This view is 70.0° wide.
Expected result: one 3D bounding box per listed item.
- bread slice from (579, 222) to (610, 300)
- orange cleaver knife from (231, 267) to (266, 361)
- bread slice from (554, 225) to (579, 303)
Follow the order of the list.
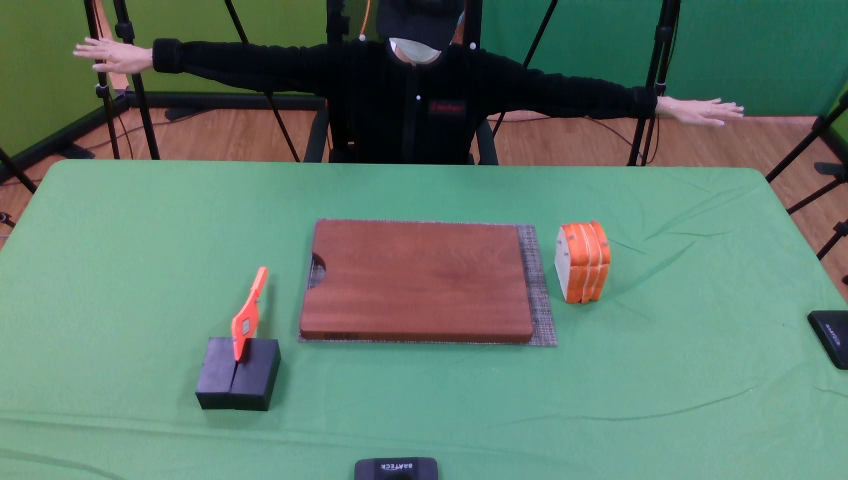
[{"bbox_3d":[0.313,0.035,1.111,0.018,0.135,0.106,-7,52,-2],"label":"bread slice"},{"bbox_3d":[-0.292,0.119,1.019,0.012,0.077,0.210,-1,27,0],"label":"orange cleaver knife"},{"bbox_3d":[0.260,0.036,1.109,0.019,0.132,0.104,-6,46,0],"label":"bread slice"}]
